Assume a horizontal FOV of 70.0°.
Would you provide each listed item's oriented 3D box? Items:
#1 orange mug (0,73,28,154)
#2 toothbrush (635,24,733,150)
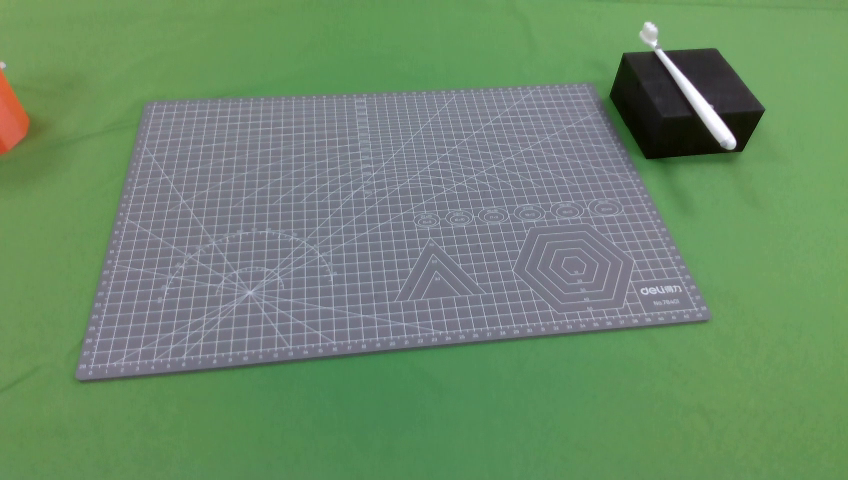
[{"bbox_3d":[-0.418,-0.119,0.504,0.083,0.101,0.126,38,53,26],"label":"orange mug"},{"bbox_3d":[0.237,-0.146,0.558,0.014,0.017,0.180,-5,50,-11],"label":"toothbrush"}]
